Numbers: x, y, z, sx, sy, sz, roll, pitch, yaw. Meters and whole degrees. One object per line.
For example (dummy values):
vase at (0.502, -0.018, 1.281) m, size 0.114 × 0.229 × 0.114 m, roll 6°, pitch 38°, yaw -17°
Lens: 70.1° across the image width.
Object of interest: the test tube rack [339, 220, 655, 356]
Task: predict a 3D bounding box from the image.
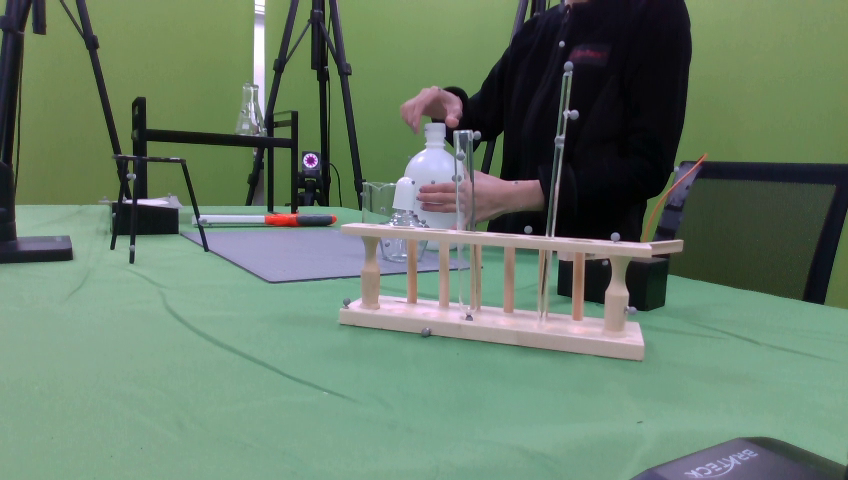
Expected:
test tube rack at (0.056, 0.032, 0.495) m, size 0.242 × 0.085 × 0.067 m, roll 4°, pitch 7°, yaw 15°

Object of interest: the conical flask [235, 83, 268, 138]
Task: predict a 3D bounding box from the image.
conical flask at (-0.402, -0.299, 1.406) m, size 0.075 × 0.122 × 0.075 m, roll 2°, pitch 7°, yaw 0°

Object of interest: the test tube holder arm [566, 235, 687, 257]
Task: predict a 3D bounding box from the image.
test tube holder arm at (0.215, 0.006, 0.630) m, size 0.179 × 0.015 × 0.013 m, roll -3°, pitch 9°, yaw -31°

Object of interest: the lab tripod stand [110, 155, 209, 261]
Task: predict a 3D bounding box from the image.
lab tripod stand at (-0.361, -0.046, 0.806) m, size 0.148 × 0.131 × 0.148 m, roll 2°, pitch 5°, yaw 0°

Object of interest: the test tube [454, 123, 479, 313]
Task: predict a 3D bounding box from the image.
test tube at (0.034, -0.016, 0.477) m, size 0.017 × 0.150 × 0.017 m, roll -2°, pitch 9°, yaw 1°

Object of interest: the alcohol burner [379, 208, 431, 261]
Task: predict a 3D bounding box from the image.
alcohol burner at (-0.027, -0.031, 0.838) m, size 0.078 × 0.119 × 0.078 m, roll 0°, pitch 6°, yaw 0°

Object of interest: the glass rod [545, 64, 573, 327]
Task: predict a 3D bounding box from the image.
glass rod at (0.101, -0.028, 0.453) m, size 0.008 × 0.199 × 0.008 m, roll 1°, pitch 14°, yaw 0°

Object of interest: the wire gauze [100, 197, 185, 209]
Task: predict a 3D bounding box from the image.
wire gauze at (-0.469, -0.062, 1.008) m, size 0.126 × 0.011 × 0.121 m, roll -2°, pitch 8°, yaw -25°

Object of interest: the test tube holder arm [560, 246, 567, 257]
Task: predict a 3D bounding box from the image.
test tube holder arm at (0.173, 0.007, 0.611) m, size 0.088 × 0.015 × 0.010 m, roll -3°, pitch 9°, yaw -30°

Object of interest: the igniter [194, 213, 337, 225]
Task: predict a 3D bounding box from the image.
igniter at (-0.306, -0.042, 1.196) m, size 0.278 × 0.025 × 0.057 m, roll -2°, pitch -2°, yaw -31°

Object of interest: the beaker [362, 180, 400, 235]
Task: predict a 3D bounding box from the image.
beaker at (-0.081, -0.062, 1.142) m, size 0.074 × 0.100 × 0.084 m, roll 2°, pitch 8°, yaw 1°

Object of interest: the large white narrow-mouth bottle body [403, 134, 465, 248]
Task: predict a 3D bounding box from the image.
large white narrow-mouth bottle body at (0.017, -0.088, 1.001) m, size 0.102 × 0.194 × 0.102 m, roll 2°, pitch 8°, yaw 0°

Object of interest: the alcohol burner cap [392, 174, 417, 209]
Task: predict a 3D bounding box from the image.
alcohol burner cap at (-0.025, -0.067, 0.834) m, size 0.034 × 0.048 × 0.034 m, roll 9°, pitch 7°, yaw -1°

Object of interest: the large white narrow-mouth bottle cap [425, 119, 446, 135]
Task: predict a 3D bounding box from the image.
large white narrow-mouth bottle cap at (0.019, -0.184, 0.988) m, size 0.038 × 0.024 × 0.037 m, roll 2°, pitch 8°, yaw 0°
